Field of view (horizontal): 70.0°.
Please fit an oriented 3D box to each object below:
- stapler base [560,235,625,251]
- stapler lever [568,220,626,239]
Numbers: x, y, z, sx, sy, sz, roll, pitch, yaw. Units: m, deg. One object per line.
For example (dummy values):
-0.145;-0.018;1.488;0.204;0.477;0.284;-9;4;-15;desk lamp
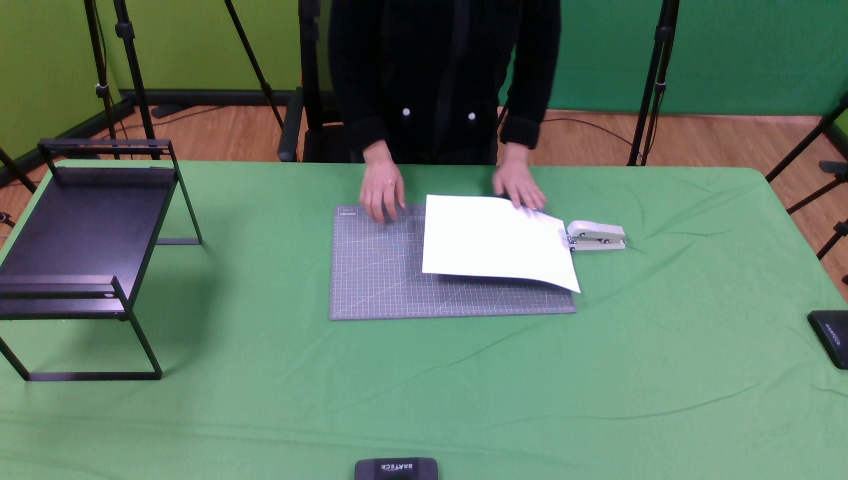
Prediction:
0.342;-0.002;1.225;0.131;0.024;0.041;-2;46;-7;stapler base
0.345;-0.020;1.208;0.118;0.040;0.026;-2;46;-6;stapler lever
